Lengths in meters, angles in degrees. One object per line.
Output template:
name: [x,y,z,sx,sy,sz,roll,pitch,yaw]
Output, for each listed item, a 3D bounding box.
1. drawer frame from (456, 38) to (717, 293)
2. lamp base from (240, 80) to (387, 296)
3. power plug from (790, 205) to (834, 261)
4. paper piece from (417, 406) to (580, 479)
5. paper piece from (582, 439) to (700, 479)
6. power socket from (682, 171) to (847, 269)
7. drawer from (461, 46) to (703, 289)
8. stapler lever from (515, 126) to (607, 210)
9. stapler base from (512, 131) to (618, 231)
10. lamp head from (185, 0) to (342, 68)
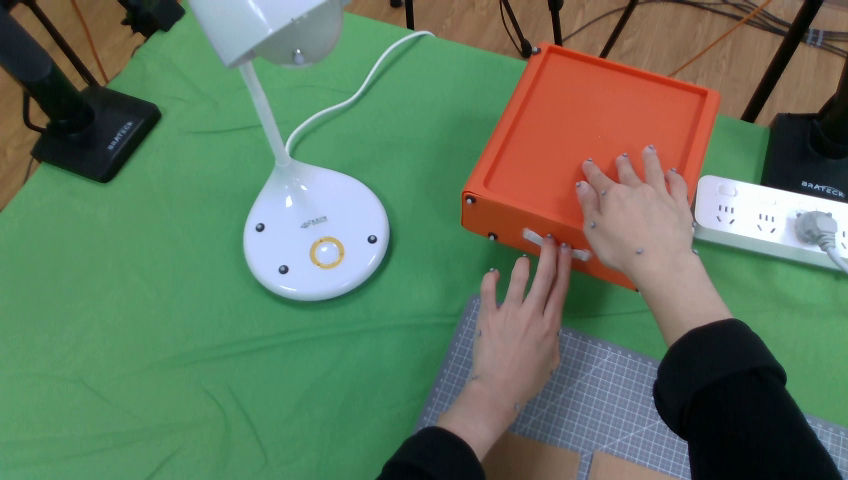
drawer frame: [0.164,-0.083,0.615,0.201,0.083,0.212,20,64,13]
lamp base: [-0.131,-0.058,0.605,0.160,0.182,0.177,-31,62,-14]
power plug: [0.389,-0.005,0.617,0.035,0.053,0.072,24,66,14]
paper piece: [0.058,0.232,0.541,0.135,0.009,0.137,13,66,13]
paper piece: [0.194,0.260,0.520,0.135,0.004,0.135,19,64,12]
power socket: [0.390,-0.020,0.652,0.226,0.033,0.072,14,64,9]
drawer: [0.164,-0.080,0.613,0.194,0.074,0.210,20,64,13]
stapler lever: [0.135,-0.075,0.604,0.027,0.040,0.117,-40,63,0]
stapler base: [0.144,-0.066,0.627,0.041,0.024,0.129,-40,64,0]
lamp head: [-0.099,-0.175,0.339,0.112,0.112,0.123,-38,105,-17]
